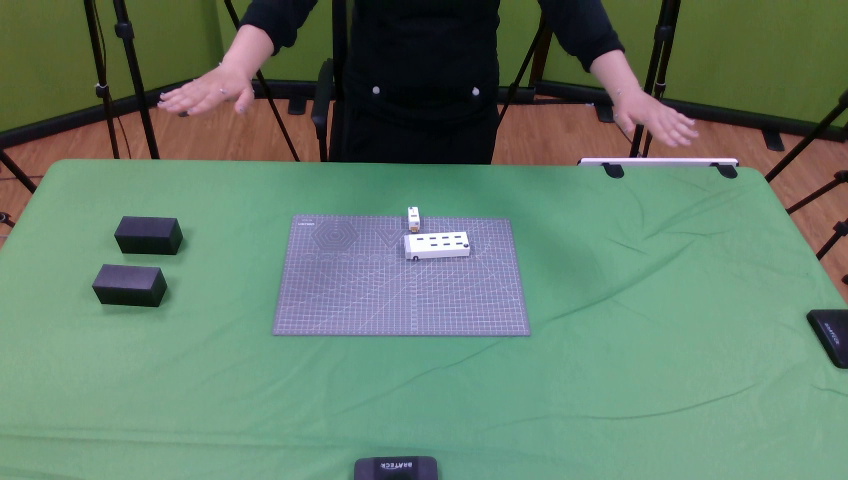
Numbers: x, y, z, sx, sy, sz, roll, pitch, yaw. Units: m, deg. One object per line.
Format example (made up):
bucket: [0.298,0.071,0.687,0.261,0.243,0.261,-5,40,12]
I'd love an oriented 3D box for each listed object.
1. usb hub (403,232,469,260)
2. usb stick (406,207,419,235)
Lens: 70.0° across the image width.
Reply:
usb hub: [0.023,0.012,1.181,0.125,0.025,0.049,-3,46,-7]
usb stick: [-0.022,-0.037,1.226,0.021,0.027,0.059,0,50,-8]
